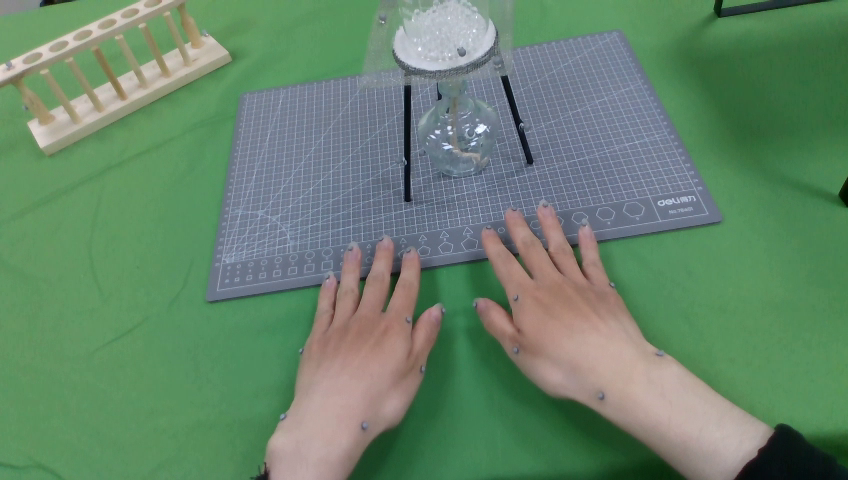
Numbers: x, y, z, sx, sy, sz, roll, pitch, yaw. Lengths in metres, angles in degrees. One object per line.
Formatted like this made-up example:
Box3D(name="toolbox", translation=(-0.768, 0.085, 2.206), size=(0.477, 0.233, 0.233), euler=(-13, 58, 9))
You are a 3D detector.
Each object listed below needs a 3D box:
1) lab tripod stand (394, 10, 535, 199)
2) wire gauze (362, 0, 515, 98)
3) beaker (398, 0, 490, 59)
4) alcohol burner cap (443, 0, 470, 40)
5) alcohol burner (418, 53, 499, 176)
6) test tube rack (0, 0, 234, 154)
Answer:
Box3D(name="lab tripod stand", translation=(0.026, -0.123, 0.549), size=(0.148, 0.133, 0.147), euler=(-4, 53, 6))
Box3D(name="wire gauze", translation=(0.014, -0.168, 0.502), size=(0.121, 0.011, 0.124), euler=(-2, 55, 11))
Box3D(name="beaker", translation=(0.010, -0.199, 0.463), size=(0.083, 0.101, 0.074), euler=(24, 61, 26))
Box3D(name="alcohol burner cap", translation=(0.038, -0.270, 0.730), size=(0.034, 0.048, 0.033), euler=(-5, 52, 7))
Box3D(name="alcohol burner", translation=(0.030, -0.118, 0.557), size=(0.078, 0.120, 0.077), euler=(-5, 49, 7))
Box3D(name="test tube rack", translation=(-0.361, -0.207, 0.717), size=(0.242, 0.086, 0.066), euler=(-34, 54, -18))
